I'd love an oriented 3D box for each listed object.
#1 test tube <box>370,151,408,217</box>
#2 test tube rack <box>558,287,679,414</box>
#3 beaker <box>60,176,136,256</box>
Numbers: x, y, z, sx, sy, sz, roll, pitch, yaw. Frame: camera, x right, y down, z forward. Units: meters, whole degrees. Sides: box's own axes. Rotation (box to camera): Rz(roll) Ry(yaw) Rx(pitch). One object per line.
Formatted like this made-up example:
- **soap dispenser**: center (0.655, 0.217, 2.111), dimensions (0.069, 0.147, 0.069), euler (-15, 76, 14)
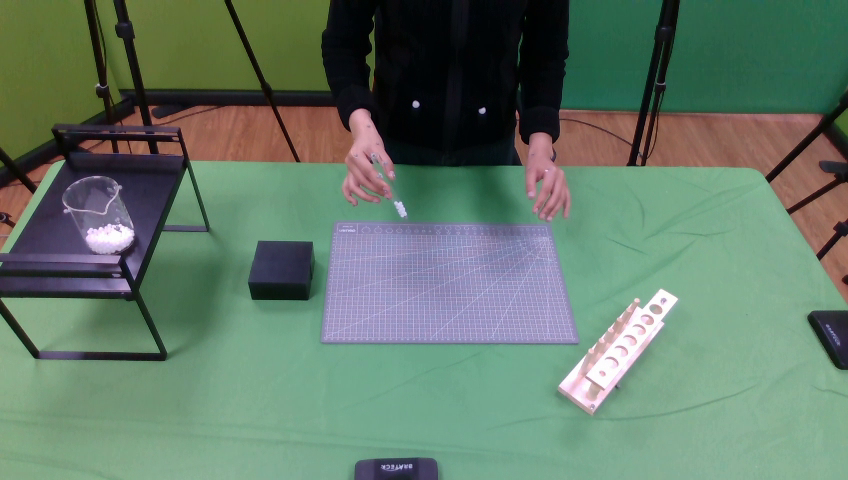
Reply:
- **test tube**: center (-0.059, -0.093, 1.038), dimensions (0.017, 0.151, 0.017), euler (-13, 46, 13)
- **test tube rack**: center (0.326, 0.170, 1.009), dimensions (0.066, 0.085, 0.242), euler (35, 54, 26)
- **beaker**: center (-0.471, -0.031, 0.887), dimensions (0.074, 0.101, 0.083), euler (-31, 56, -28)
